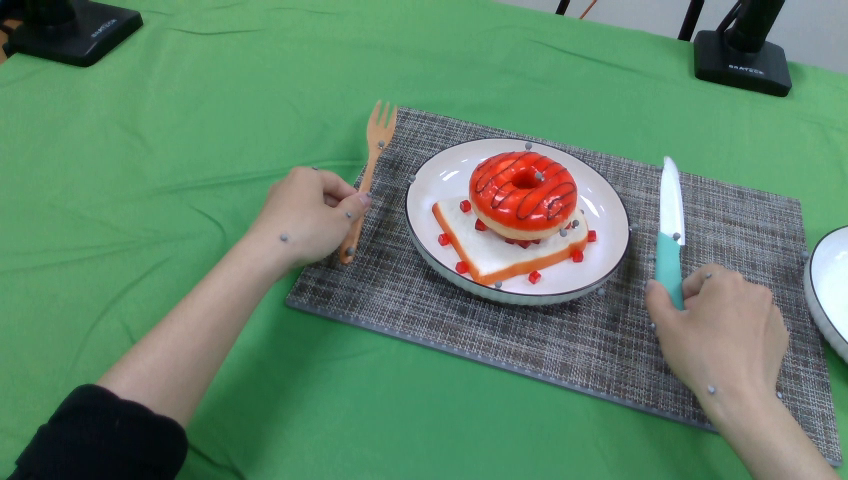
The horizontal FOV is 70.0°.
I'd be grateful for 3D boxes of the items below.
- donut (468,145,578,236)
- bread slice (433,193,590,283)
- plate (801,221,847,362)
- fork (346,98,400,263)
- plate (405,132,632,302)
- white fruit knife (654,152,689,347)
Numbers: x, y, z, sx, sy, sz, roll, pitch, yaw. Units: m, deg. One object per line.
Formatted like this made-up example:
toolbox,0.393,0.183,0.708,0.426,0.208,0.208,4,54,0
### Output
donut,0.088,-0.046,0.542,0.099,0.048,0.098,3,48,-3
bread slice,0.087,-0.018,0.567,0.132,0.019,0.103,-16,53,-18
plate,0.432,0.068,0.526,0.208,0.039,0.205,3,48,-3
fork,-0.048,-0.063,0.574,0.028,0.019,0.205,-8,48,21
plate,0.085,-0.023,0.569,0.209,0.038,0.207,3,48,-3
white fruit knife,0.219,-0.001,0.541,0.027,0.016,0.206,12,57,3
